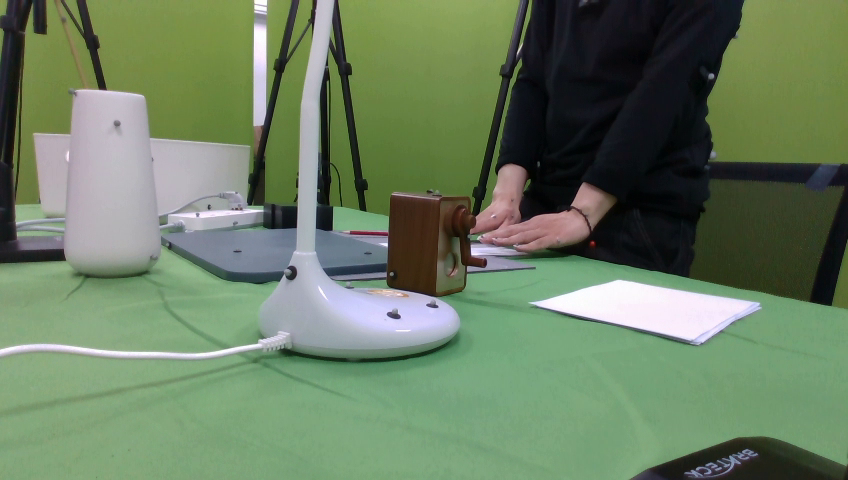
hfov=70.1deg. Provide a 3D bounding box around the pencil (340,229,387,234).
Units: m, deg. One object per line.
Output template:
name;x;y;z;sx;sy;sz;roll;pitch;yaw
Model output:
pencil;-0.057;-0.013;1.094;0.195;0.012;0.012;1;7;-20

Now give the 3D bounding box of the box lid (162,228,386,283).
box lid;-0.200;0.014;0.861;0.265;0.015;0.369;-4;10;-35

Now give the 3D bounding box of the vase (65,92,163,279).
vase;-0.347;-0.060;0.673;0.098;0.200;0.098;1;7;0

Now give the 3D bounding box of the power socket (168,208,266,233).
power socket;-0.379;-0.038;1.129;0.072;0.032;0.227;4;8;18

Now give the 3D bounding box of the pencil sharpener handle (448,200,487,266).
pencil sharpener handle;0.049;-0.006;0.623;0.030;0.068;0.036;8;22;37

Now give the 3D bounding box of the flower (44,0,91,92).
flower;-0.361;-0.142;0.663;0.044;0.361;0.038;-12;11;31

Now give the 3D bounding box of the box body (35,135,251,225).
box body;-0.559;-0.127;1.257;0.253;0.160;0.365;4;8;15

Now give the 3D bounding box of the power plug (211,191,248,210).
power plug;-0.384;-0.071;1.205;0.072;0.052;0.035;1;8;28

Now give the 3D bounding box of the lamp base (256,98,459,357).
lamp base;-0.055;-0.013;0.463;0.160;0.180;0.180;6;11;27

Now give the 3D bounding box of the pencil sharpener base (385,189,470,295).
pencil sharpener base;0.006;0.001;0.653;0.076;0.107;0.061;8;9;37
